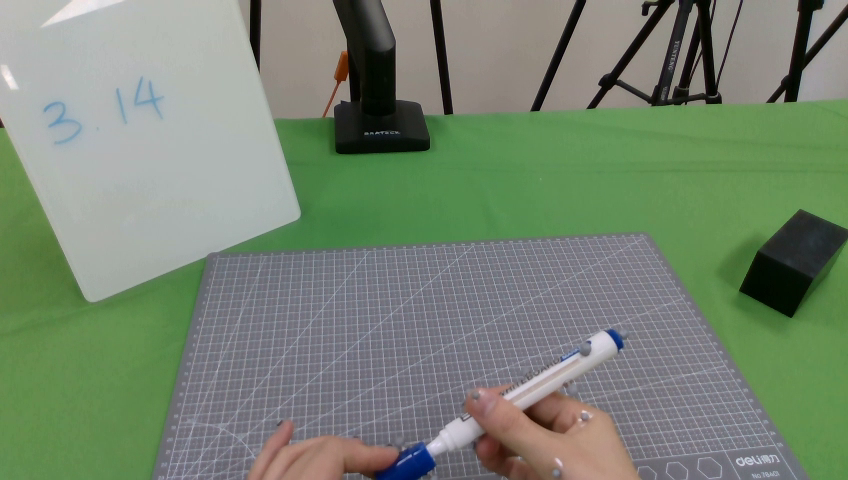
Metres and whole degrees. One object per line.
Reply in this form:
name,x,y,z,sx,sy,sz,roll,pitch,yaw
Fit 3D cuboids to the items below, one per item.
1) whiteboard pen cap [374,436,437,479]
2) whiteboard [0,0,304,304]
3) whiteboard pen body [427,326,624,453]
whiteboard pen cap,-0.010,0.123,0.334,0.033,0.018,0.018,-31,47,-12
whiteboard,-0.279,-0.136,0.581,0.217,0.307,0.142,-27,28,-30
whiteboard pen body,0.054,0.088,0.346,0.141,0.017,0.017,-28,45,-9
